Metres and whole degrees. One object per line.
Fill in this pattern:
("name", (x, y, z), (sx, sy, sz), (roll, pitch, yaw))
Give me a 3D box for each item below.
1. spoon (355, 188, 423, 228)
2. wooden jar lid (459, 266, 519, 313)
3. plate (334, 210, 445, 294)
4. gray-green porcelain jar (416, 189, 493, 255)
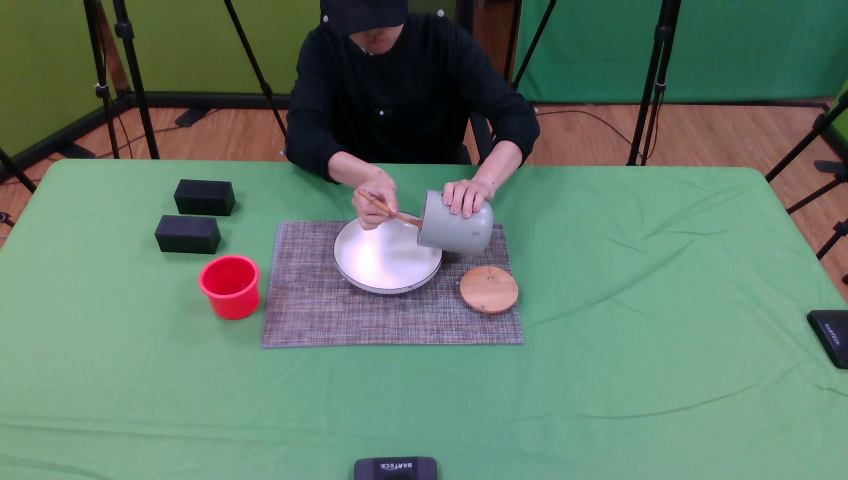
("spoon", (-0.042, -0.044, 1.087), (0.194, 0.021, 0.041), (25, 29, -25))
("wooden jar lid", (0.118, 0.093, 1.111), (0.108, 0.021, 0.107), (1, 47, -1))
("plate", (-0.066, 0.026, 1.150), (0.208, 0.039, 0.206), (2, 46, -2))
("gray-green porcelain jar", (0.057, -0.031, 1.105), (0.126, 0.106, 0.105), (9, 46, -5))
